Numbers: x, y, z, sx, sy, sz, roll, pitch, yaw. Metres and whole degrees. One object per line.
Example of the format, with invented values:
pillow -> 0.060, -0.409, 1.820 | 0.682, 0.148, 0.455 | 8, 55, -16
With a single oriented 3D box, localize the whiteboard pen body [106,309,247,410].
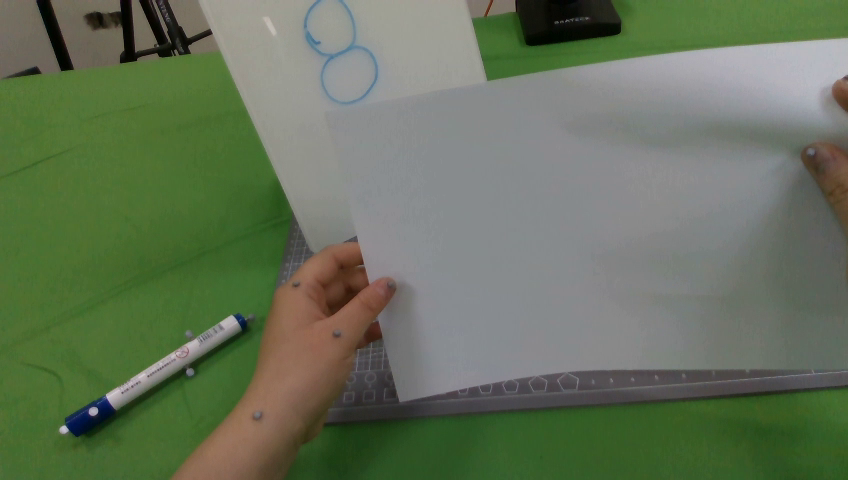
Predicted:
whiteboard pen body -> -0.203, 0.098, 0.475 | 0.141, 0.017, 0.017 | -34, 50, -23

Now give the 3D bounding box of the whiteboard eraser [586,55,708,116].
whiteboard eraser -> 0.233, -0.161, 0.638 | 0.112, 0.042, 0.055 | -7, 47, 2

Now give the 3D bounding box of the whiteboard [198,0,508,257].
whiteboard -> -0.079, -0.181, 0.572 | 0.217, 0.308, 0.142 | -26, 26, -14

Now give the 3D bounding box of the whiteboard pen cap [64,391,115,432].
whiteboard pen cap -> -0.248, 0.127, 0.452 | 0.033, 0.018, 0.018 | -33, 49, -24
